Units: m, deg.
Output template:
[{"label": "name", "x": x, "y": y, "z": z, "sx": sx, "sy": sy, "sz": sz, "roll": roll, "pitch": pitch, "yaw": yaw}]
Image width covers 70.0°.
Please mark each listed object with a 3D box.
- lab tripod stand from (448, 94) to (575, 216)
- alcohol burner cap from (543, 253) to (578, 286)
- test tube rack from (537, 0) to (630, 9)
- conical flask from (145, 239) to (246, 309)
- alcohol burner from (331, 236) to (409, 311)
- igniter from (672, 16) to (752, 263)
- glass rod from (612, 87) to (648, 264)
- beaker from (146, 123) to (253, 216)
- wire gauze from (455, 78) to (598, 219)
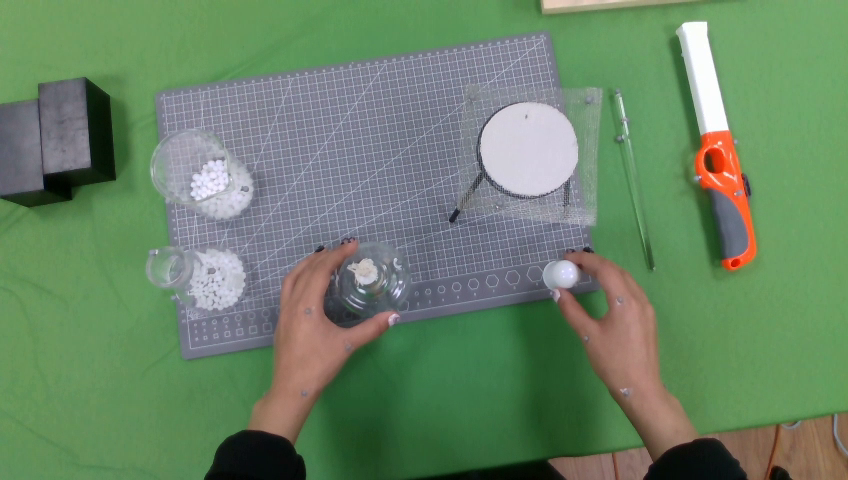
[{"label": "lab tripod stand", "x": 0.088, "y": -0.074, "z": 0.599, "sx": 0.148, "sy": 0.132, "sz": 0.148, "roll": 0, "pitch": 83, "yaw": 1}, {"label": "alcohol burner cap", "x": 0.137, "y": 0.028, "z": 0.599, "sx": 0.034, "sy": 0.048, "sz": 0.034, "roll": 0, "pitch": 84, "yaw": 2}, {"label": "test tube rack", "x": 0.248, "y": -0.316, "z": 0.660, "sx": 0.242, "sy": 0.085, "sz": 0.066, "roll": -6, "pitch": 81, "yaw": 0}, {"label": "conical flask", "x": -0.226, "y": 0.028, "z": 0.591, "sx": 0.075, "sy": 0.122, "sz": 0.075, "roll": 0, "pitch": 81, "yaw": 0}, {"label": "alcohol burner", "x": -0.055, "y": 0.031, "z": 0.595, "sx": 0.078, "sy": 0.119, "sz": 0.077, "roll": 0, "pitch": 82, "yaw": 2}, {"label": "igniter", "x": 0.314, "y": -0.112, "z": 0.661, "sx": 0.057, "sy": 0.025, "sz": 0.275, "roll": -6, "pitch": 82, "yaw": -10}, {"label": "glass rod", "x": 0.226, "y": -0.072, "z": 0.664, "sx": 0.008, "sy": 0.008, "sz": 0.199, "roll": -8, "pitch": 84, "yaw": -1}, {"label": "beaker", "x": -0.219, "y": -0.065, "z": 0.616, "sx": 0.084, "sy": 0.100, "sz": 0.074, "roll": 27, "pitch": 83, "yaw": 3}, {"label": "wire gauze", "x": 0.091, "y": -0.083, "z": 0.533, "sx": 0.125, "sy": 0.011, "sz": 0.121, "roll": 5, "pitch": 83, "yaw": 1}]
